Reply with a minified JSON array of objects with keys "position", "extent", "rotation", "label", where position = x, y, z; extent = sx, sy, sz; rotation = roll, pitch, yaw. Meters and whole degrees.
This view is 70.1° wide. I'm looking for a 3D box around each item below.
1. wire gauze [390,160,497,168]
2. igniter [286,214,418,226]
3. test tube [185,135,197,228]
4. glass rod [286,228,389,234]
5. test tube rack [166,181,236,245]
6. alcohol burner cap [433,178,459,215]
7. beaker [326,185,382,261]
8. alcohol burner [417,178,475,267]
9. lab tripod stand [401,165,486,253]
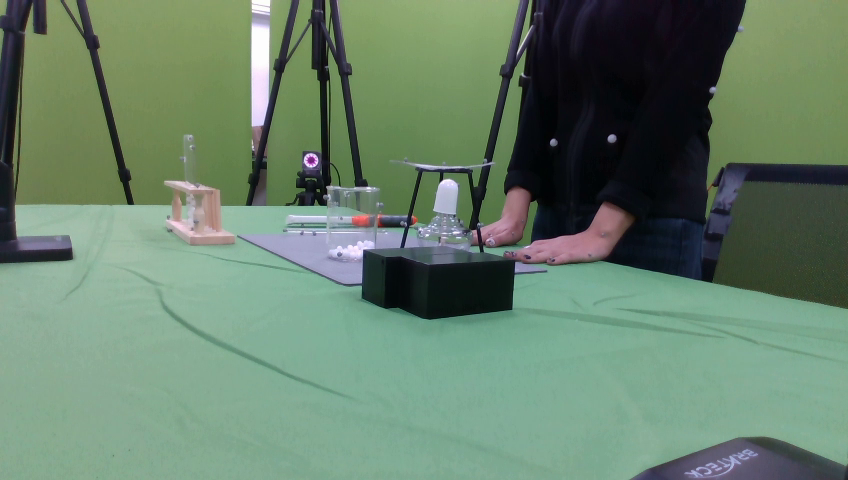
[{"position":[0.028,-0.115,0.919],"extent":[0.122,0.011,0.124],"rotation":[-4,10,-34],"label":"wire gauze"},{"position":[-0.146,-0.043,1.263],"extent":[0.278,0.025,0.057],"rotation":[-1,-2,-24],"label":"igniter"},{"position":[-0.376,-0.094,0.977],"extent":[0.017,0.150,0.017],"rotation":[-1,3,0],"label":"test tube"},{"position":[-0.153,-0.016,1.101],"extent":[0.201,0.008,0.008],"rotation":[1,6,-31],"label":"glass rod"},{"position":[-0.383,-0.051,1.024],"extent":[0.067,0.085,0.241],"rotation":[-2,9,-31],"label":"test tube rack"},{"position":[0.031,-0.059,0.807],"extent":[0.034,0.048,0.034],"rotation":[9,10,-1],"label":"alcohol burner cap"},{"position":[-0.100,-0.025,0.836],"extent":[0.074,0.100,0.083],"rotation":[0,7,-23],"label":"beaker"},{"position":[0.029,-0.024,0.810],"extent":[0.078,0.119,0.078],"rotation":[1,9,0],"label":"alcohol burner"},{"position":[0.028,-0.049,0.930],"extent":[0.148,0.131,0.148],"rotation":[2,9,0],"label":"lab tripod stand"}]
